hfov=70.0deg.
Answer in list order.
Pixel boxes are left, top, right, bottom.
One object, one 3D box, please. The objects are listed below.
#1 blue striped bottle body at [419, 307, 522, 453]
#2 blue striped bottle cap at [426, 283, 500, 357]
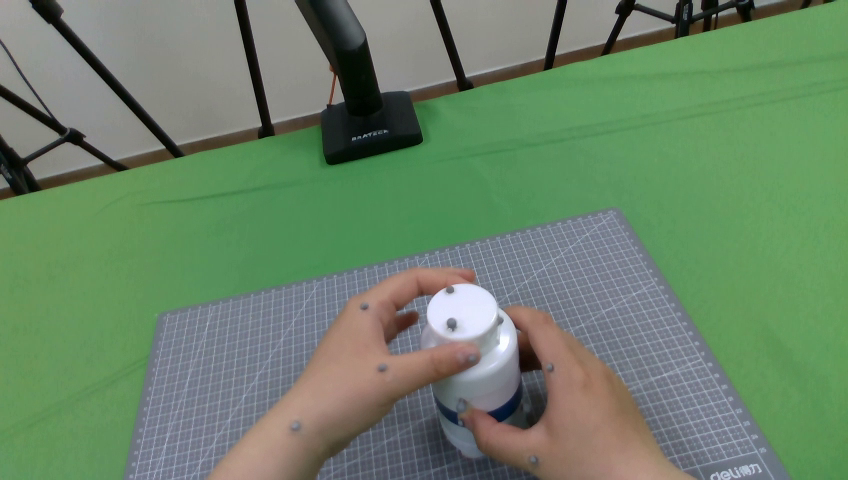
[{"bbox_3d":[0.032,0.086,0.403,0.063,0.122,0.062,-5,44,6],"label":"blue striped bottle body"},{"bbox_3d":[0.023,0.048,0.367,0.044,0.021,0.044,-6,45,7],"label":"blue striped bottle cap"}]
